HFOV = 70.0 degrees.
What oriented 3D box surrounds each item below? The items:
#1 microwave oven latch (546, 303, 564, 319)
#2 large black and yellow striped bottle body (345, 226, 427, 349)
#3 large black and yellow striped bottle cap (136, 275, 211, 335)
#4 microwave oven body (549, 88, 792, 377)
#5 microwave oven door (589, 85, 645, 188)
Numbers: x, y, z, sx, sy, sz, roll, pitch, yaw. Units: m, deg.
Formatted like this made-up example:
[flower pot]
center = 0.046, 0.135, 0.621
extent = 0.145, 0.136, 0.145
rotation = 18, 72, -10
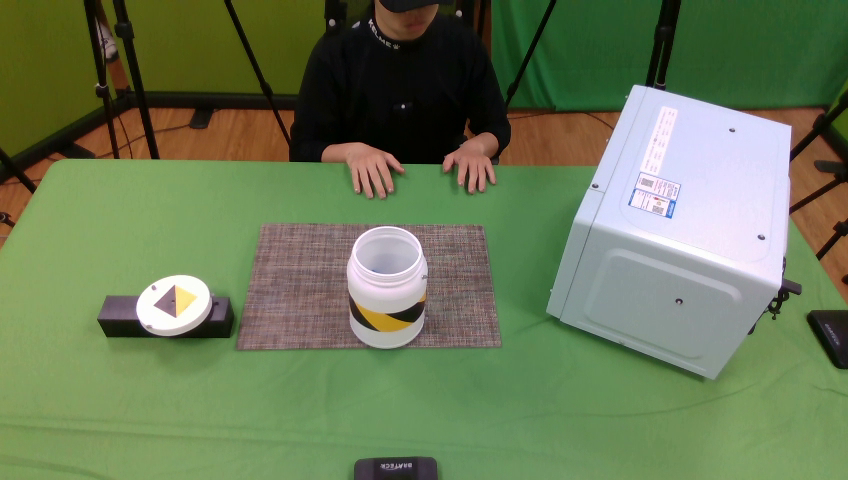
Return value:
[microwave oven latch]
center = 0.242, 0.102, 1.081
extent = 0.030, 0.029, 0.079
rotation = 21, 48, 17
[large black and yellow striped bottle body]
center = -0.062, 0.078, 0.998
extent = 0.131, 0.185, 0.130
rotation = 2, 46, -2
[large black and yellow striped bottle cap]
center = -0.412, 0.105, 0.998
extent = 0.115, 0.019, 0.114
rotation = 3, 46, -3
[microwave oven body]
center = 0.456, -0.028, 1.088
extent = 0.325, 0.261, 0.440
rotation = 20, 47, 16
[microwave oven door]
center = 0.342, -0.107, 1.149
extent = 0.039, 0.245, 0.354
rotation = 20, 48, 15
